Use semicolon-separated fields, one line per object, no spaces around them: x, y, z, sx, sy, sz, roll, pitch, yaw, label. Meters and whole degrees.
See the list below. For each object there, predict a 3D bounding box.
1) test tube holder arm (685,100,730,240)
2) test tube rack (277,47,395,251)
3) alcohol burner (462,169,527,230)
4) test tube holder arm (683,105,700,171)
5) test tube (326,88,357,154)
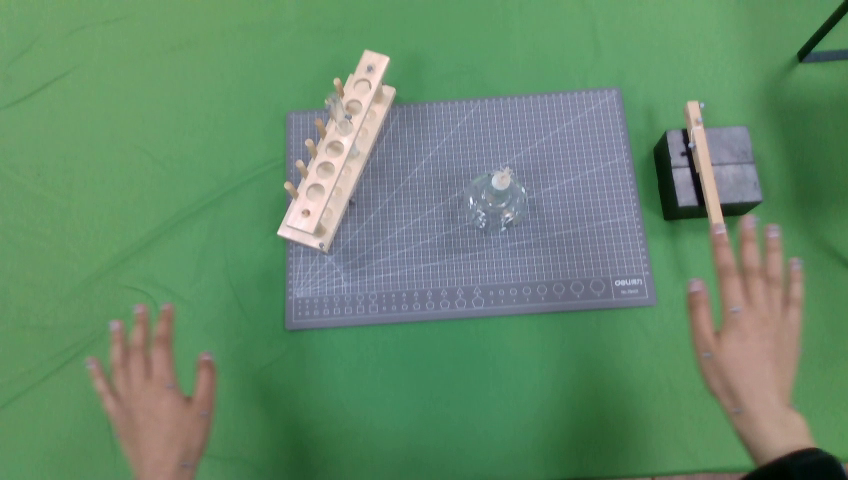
0.331;-0.084;0.711;0.015;0.013;0.177;-8;70;11;test tube holder arm
-0.113;-0.117;0.753;0.066;0.085;0.241;19;76;8;test tube rack
0.085;-0.054;0.714;0.078;0.120;0.077;0;73;1;alcohol burner
0.329;-0.125;0.731;0.015;0.010;0.087;-8;70;11;test tube holder arm
-0.094;-0.135;0.706;0.017;0.151;0.017;0;76;1;test tube
